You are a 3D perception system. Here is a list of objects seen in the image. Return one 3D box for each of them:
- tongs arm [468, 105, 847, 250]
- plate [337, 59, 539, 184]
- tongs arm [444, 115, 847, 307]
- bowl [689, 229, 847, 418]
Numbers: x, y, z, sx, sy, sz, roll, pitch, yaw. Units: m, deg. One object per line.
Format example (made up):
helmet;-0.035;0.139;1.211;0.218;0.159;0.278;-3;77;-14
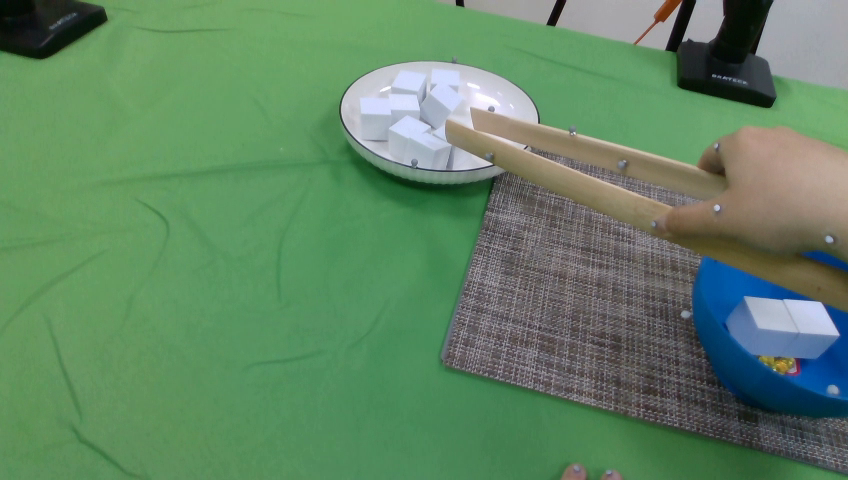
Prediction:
tongs arm;0.159;-0.044;0.445;0.051;0.027;0.381;-32;41;-32
plate;0.014;-0.123;0.634;0.209;0.038;0.207;3;45;-3
tongs arm;0.142;-0.035;0.435;0.028;0.028;0.383;-26;38;-31
bowl;0.259;0.071;0.442;0.151;0.077;0.150;4;45;-4
